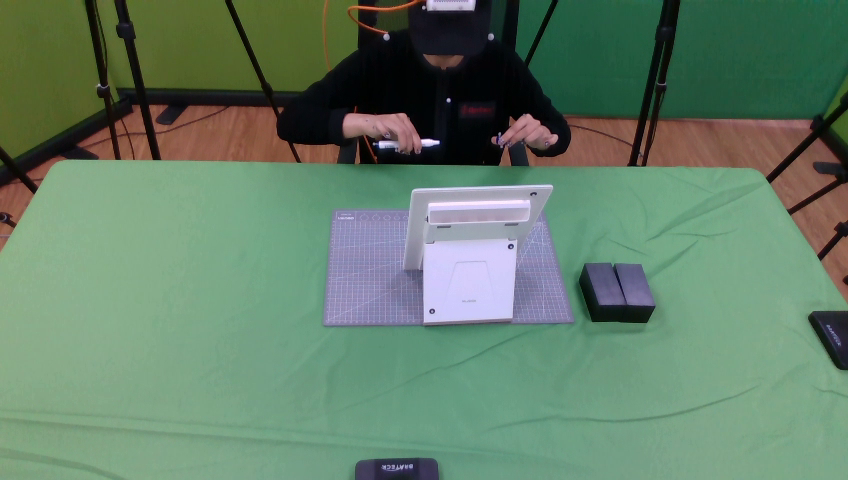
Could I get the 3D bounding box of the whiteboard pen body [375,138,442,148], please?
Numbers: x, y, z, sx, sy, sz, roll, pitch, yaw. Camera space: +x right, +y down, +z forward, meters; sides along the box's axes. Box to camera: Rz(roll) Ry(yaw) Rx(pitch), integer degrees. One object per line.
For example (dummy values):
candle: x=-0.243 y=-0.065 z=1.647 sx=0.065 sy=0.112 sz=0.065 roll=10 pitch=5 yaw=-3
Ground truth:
whiteboard pen body: x=-0.031 y=-0.203 z=1.262 sx=0.141 sy=0.017 sz=0.017 roll=-2 pitch=46 yaw=7

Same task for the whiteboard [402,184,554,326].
whiteboard: x=0.081 y=0.044 z=1.005 sx=0.217 sy=0.306 sz=0.143 roll=-1 pitch=65 yaw=-6

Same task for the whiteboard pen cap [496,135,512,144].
whiteboard pen cap: x=0.168 y=-0.211 z=1.272 sx=0.033 sy=0.018 sz=0.018 roll=3 pitch=46 yaw=7
